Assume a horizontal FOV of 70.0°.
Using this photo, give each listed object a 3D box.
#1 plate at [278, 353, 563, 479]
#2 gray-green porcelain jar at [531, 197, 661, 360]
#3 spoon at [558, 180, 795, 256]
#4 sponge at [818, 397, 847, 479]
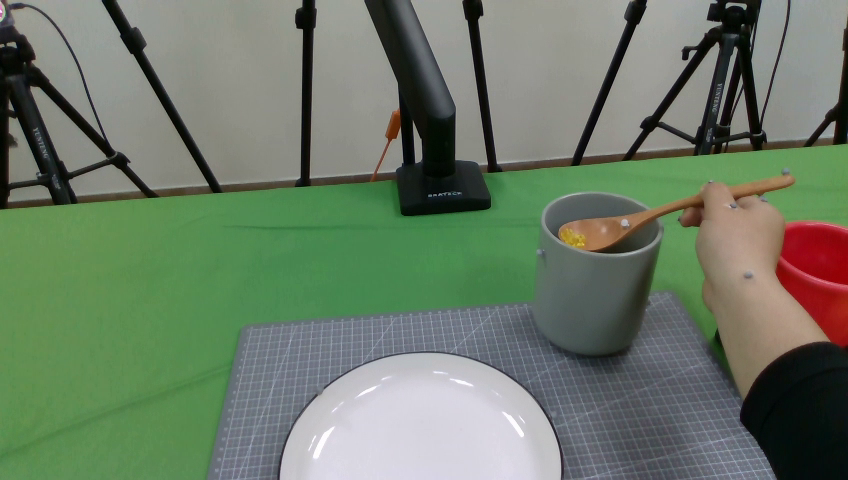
[{"bbox_3d":[-0.002,0.172,0.457,0.208,0.039,0.205,-1,34,1],"label":"plate"},{"bbox_3d":[0.155,0.039,0.565,0.106,0.127,0.105,-1,35,1],"label":"gray-green porcelain jar"},{"bbox_3d":[0.211,-0.021,0.513,0.193,0.022,0.041,-17,37,15],"label":"spoon"},{"bbox_3d":[0.388,0.192,0.395,0.118,0.061,0.204,-6,35,-7],"label":"sponge"}]
